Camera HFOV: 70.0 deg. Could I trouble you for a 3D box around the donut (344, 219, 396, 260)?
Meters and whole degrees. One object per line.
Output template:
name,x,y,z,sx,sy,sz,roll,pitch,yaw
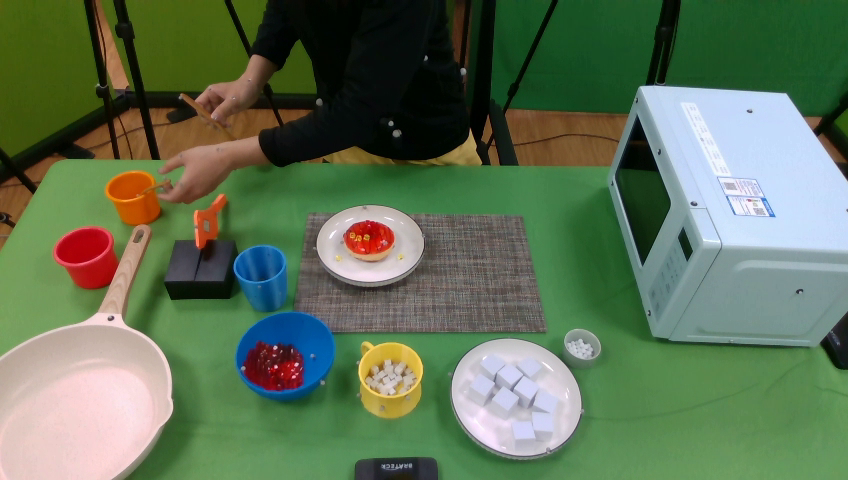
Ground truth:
donut,-0.103,-0.002,1.157,0.099,0.048,0.098,3,43,-2

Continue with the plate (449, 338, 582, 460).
plate,0.141,0.251,0.955,0.208,0.039,0.206,2,46,-2

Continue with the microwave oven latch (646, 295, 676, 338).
microwave oven latch,0.413,0.133,1.060,0.030,0.029,0.078,4,46,1

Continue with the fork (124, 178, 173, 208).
fork,-0.525,-0.089,1.154,0.207,0.019,0.028,-18,26,45

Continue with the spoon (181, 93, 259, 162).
spoon,-0.413,-0.230,1.237,0.021,0.195,0.041,-14,42,36

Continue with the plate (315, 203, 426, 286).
plate,-0.101,0.012,1.160,0.209,0.038,0.208,2,46,-2

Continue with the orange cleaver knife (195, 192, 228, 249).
orange cleaver knife,-0.406,-0.042,1.163,0.012,0.077,0.210,-1,18,-3

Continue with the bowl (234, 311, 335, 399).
bowl,-0.214,0.194,0.956,0.151,0.077,0.150,2,46,-2

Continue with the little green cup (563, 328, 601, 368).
little green cup,0.265,0.185,1.025,0.061,0.039,0.061,1,45,-1

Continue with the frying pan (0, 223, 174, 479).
frying pan,-0.505,0.169,0.941,0.307,0.103,0.485,5,54,-1

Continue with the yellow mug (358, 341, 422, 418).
yellow mug,-0.063,0.210,0.961,0.100,0.064,0.130,-29,54,-28

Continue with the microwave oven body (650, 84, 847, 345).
microwave oven body,0.569,-0.054,1.116,0.326,0.261,0.439,2,46,-1

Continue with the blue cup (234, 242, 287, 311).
blue cup,-0.276,0.071,1.052,0.093,0.101,0.092,1,48,-1

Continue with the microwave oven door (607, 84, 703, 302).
microwave oven door,0.424,-0.096,1.138,0.039,0.245,0.353,3,46,-1
